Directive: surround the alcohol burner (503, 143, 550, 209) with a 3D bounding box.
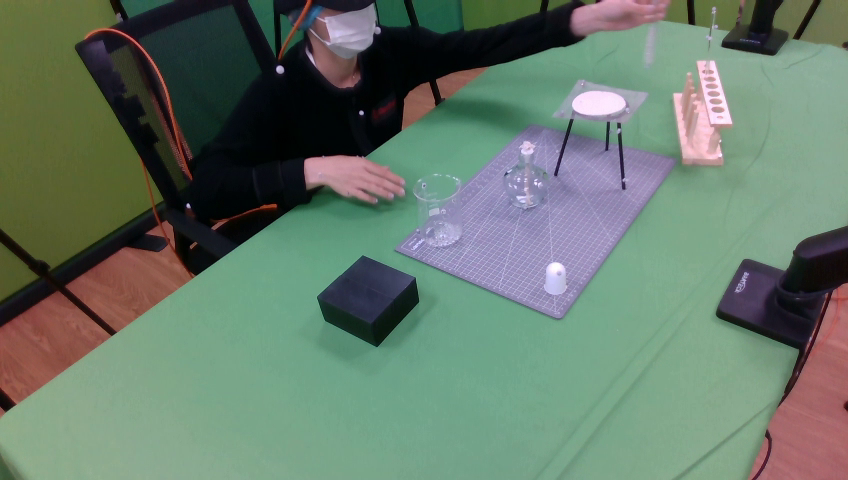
[{"bbox_3d":[0.171,-0.112,1.006,0.078,0.119,0.077,-3,41,3],"label":"alcohol burner"}]

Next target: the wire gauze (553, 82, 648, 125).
[{"bbox_3d":[0.293,-0.226,1.002,0.120,0.011,0.125,17,45,27],"label":"wire gauze"}]

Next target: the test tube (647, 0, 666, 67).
[{"bbox_3d":[0.401,-0.369,1.041,0.017,0.151,0.017,-4,42,4],"label":"test tube"}]

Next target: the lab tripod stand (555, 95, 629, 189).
[{"bbox_3d":[0.300,-0.174,1.045,0.148,0.132,0.147,-5,38,5],"label":"lab tripod stand"}]

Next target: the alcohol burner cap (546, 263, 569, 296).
[{"bbox_3d":[0.191,0.053,0.862,0.034,0.048,0.033,-5,40,4],"label":"alcohol burner cap"}]

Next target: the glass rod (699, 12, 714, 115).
[{"bbox_3d":[0.526,-0.323,1.124,0.008,0.201,0.008,-8,38,7],"label":"glass rod"}]

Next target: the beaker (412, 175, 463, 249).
[{"bbox_3d":[0.027,-0.043,0.959,0.084,0.101,0.073,-25,43,-20],"label":"beaker"}]

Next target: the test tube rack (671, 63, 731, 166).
[{"bbox_3d":[0.513,-0.241,1.131,0.066,0.085,0.242,4,41,14],"label":"test tube rack"}]
